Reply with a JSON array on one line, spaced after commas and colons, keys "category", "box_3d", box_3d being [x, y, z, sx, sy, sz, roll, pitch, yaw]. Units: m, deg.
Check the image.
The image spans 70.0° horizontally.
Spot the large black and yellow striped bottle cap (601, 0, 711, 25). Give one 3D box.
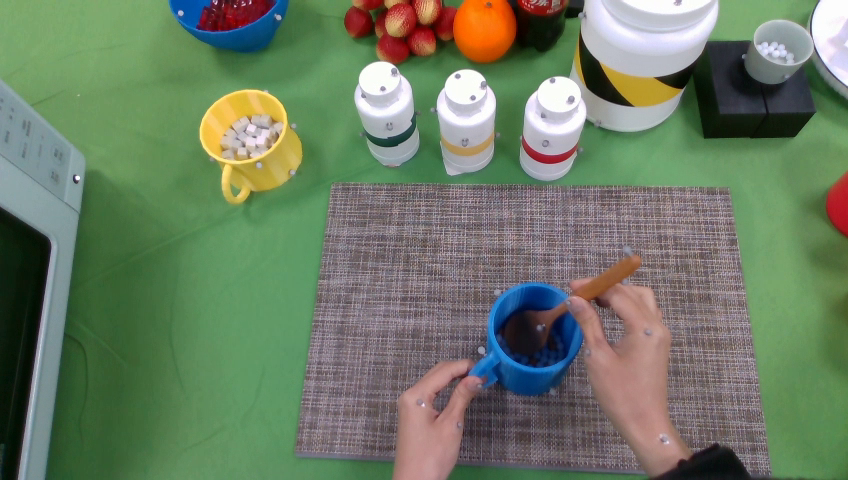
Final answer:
[{"category": "large black and yellow striped bottle cap", "box_3d": [0.220, -0.254, 0.576, 0.115, 0.019, 0.114, -2, 66, 4]}]

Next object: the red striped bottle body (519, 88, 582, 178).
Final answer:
[{"category": "red striped bottle body", "box_3d": [0.135, -0.122, 0.653, 0.063, 0.120, 0.062, -3, 65, 6]}]

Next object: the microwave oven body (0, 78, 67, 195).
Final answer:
[{"category": "microwave oven body", "box_3d": [-0.554, 0.064, 0.547, 0.326, 0.262, 0.438, -8, 67, 1]}]

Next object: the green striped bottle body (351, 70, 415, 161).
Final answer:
[{"category": "green striped bottle body", "box_3d": [-0.045, -0.145, 0.676, 0.063, 0.120, 0.062, -1, 67, 4]}]

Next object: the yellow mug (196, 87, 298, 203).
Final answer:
[{"category": "yellow mug", "box_3d": [-0.208, -0.104, 0.701, 0.100, 0.064, 0.130, 10, 69, 9]}]

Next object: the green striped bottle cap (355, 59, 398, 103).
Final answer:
[{"category": "green striped bottle cap", "box_3d": [-0.050, -0.166, 0.629, 0.044, 0.020, 0.044, -1, 66, 3]}]

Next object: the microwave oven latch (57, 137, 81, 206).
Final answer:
[{"category": "microwave oven latch", "box_3d": [-0.420, -0.078, 0.701, 0.030, 0.030, 0.078, -6, 67, 1]}]

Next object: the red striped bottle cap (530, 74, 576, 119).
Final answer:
[{"category": "red striped bottle cap", "box_3d": [0.130, -0.144, 0.605, 0.044, 0.018, 0.044, 0, 66, 1]}]

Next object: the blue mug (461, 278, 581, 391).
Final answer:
[{"category": "blue mug", "box_3d": [0.084, 0.101, 0.567, 0.116, 0.106, 0.081, -32, 68, -9]}]

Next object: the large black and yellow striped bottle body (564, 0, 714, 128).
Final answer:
[{"category": "large black and yellow striped bottle body", "box_3d": [0.228, -0.222, 0.653, 0.131, 0.185, 0.130, -2, 67, 4]}]

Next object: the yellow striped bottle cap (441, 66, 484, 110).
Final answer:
[{"category": "yellow striped bottle cap", "box_3d": [0.039, -0.155, 0.618, 0.044, 0.019, 0.044, -1, 68, 3]}]

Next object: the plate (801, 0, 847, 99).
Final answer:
[{"category": "plate", "box_3d": [0.549, -0.230, 0.712, 0.209, 0.038, 0.207, -1, 68, 4]}]

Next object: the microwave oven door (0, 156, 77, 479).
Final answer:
[{"category": "microwave oven door", "box_3d": [-0.406, 0.081, 0.522, 0.039, 0.245, 0.353, -8, 67, 2]}]

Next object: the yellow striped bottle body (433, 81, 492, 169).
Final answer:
[{"category": "yellow striped bottle body", "box_3d": [0.043, -0.135, 0.665, 0.063, 0.121, 0.062, -2, 66, 5]}]

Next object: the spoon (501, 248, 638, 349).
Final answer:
[{"category": "spoon", "box_3d": [0.120, 0.054, 0.524, 0.022, 0.194, 0.041, -23, 76, -29]}]

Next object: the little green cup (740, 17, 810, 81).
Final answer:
[{"category": "little green cup", "box_3d": [0.378, -0.206, 0.659, 0.061, 0.039, 0.061, -1, 65, 2]}]

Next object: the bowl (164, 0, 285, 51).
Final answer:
[{"category": "bowl", "box_3d": [-0.243, -0.300, 0.780, 0.151, 0.077, 0.150, -1, 67, 4]}]
